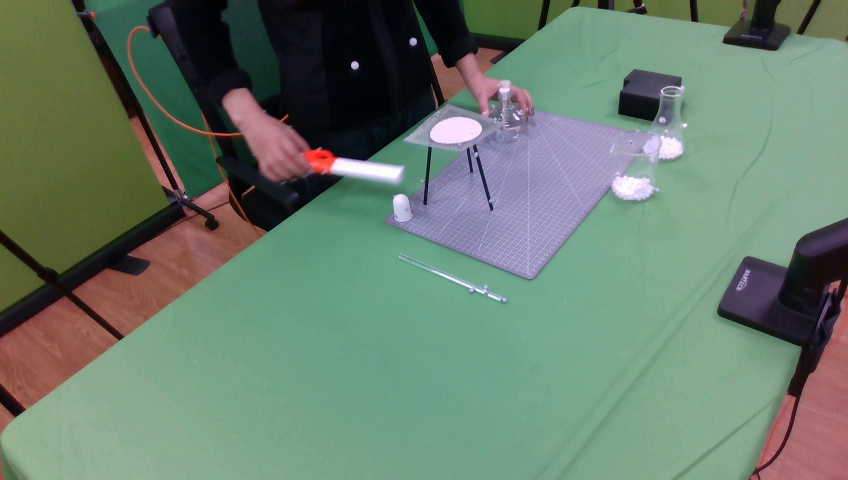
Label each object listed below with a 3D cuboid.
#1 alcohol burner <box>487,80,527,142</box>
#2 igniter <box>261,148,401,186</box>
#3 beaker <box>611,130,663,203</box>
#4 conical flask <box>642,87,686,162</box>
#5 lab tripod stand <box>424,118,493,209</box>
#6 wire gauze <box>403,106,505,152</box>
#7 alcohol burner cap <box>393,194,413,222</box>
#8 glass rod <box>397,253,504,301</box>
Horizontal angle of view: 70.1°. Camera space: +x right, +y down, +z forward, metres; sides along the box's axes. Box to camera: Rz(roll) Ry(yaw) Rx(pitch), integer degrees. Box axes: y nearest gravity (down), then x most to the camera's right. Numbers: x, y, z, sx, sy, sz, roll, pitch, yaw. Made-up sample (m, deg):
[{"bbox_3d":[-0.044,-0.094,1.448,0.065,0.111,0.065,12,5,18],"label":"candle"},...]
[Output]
[{"bbox_3d":[0.160,-0.254,1.178,0.078,0.119,0.077,-7,39,6],"label":"alcohol burner"},{"bbox_3d":[-0.173,-0.131,1.079,0.275,0.025,0.057,11,51,17],"label":"igniter"},{"bbox_3d":[0.346,-0.118,0.998,0.084,0.101,0.073,-17,40,-7],"label":"beaker"},{"bbox_3d":[0.429,-0.206,1.067,0.075,0.122,0.075,-6,40,6],"label":"conical flask"},{"bbox_3d":[0.061,-0.133,1.038,0.148,0.132,0.147,-6,38,6],"label":"lab tripod stand"},{"bbox_3d":[0.049,-0.181,0.992,0.120,0.011,0.125,23,48,34],"label":"wire gauze"},{"bbox_3d":[-0.038,-0.057,1.038,0.034,0.048,0.033,-6,40,5],"label":"alcohol burner cap"},{"bbox_3d":[0.036,0.054,0.922,0.198,0.008,0.008,21,49,30],"label":"glass rod"}]
